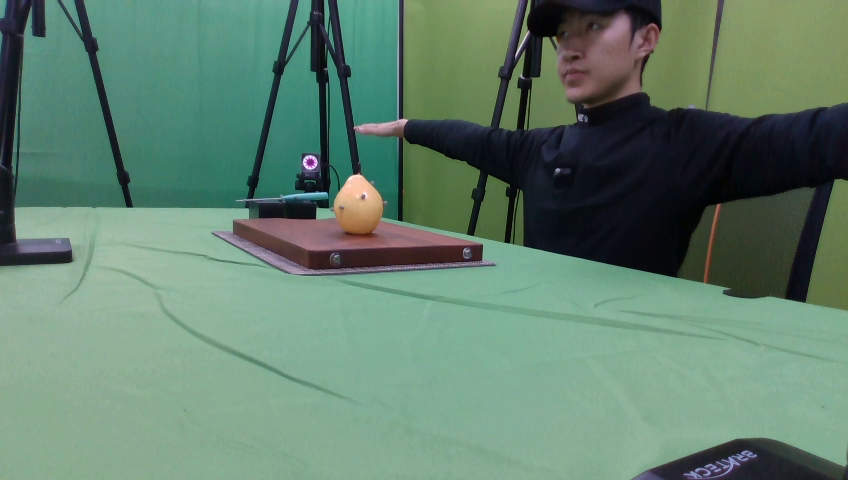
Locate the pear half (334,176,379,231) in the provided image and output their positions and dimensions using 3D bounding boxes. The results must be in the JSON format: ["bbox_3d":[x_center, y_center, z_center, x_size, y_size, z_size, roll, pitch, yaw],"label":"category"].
[{"bbox_3d":[-0.109,-0.058,0.953,0.071,0.088,0.031,-7,12,-21],"label":"pear half"}]

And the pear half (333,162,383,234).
[{"bbox_3d":[-0.098,-0.063,0.918,0.076,0.110,0.055,-5,10,-20],"label":"pear half"}]

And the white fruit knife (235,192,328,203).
[{"bbox_3d":[-0.297,-0.088,1.283,0.208,0.016,0.027,-7,0,-32],"label":"white fruit knife"}]
